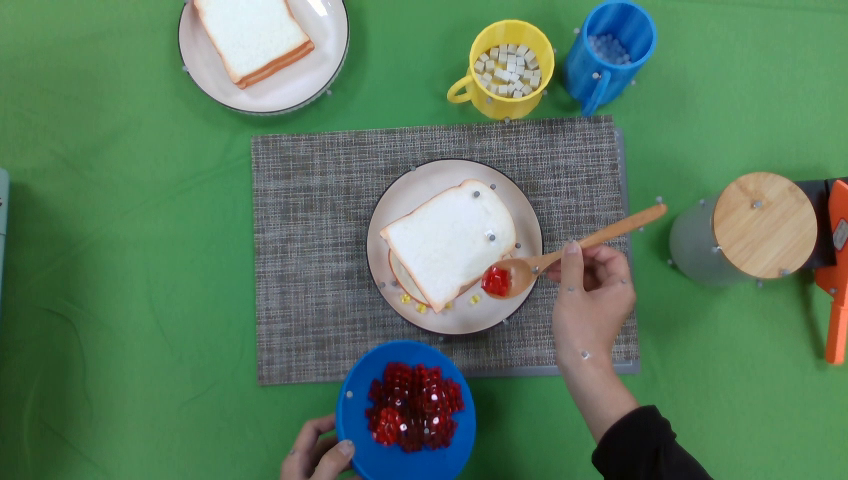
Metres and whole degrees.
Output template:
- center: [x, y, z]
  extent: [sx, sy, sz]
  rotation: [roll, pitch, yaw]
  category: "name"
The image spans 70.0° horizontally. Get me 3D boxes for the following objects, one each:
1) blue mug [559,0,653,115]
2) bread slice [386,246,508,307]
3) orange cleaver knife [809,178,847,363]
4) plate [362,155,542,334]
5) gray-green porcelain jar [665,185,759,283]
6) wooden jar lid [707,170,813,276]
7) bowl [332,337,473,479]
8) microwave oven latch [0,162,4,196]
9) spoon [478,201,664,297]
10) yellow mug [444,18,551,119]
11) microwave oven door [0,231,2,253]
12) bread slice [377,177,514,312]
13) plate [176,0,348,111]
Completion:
- center: [0.206, -0.204, 0.713]
  extent: [0.082, 0.106, 0.116]
  rotation: [18, 82, 2]
  category: "blue mug"
- center: [0.024, 0.016, 0.715]
  extent: [0.131, 0.019, 0.104]
  rotation: [-34, 81, -8]
  category: "bread slice"
- center: [0.468, 0.036, 0.695]
  extent: [0.012, 0.076, 0.212]
  rotation: [-4, 109, 0]
  category: "orange cleaver knife"
- center: [0.032, 0.005, 0.713]
  extent: [0.209, 0.038, 0.208]
  rotation: [0, 82, -1]
  category: "plate"
- center: [0.339, -0.007, 0.677]
  extent: [0.106, 0.127, 0.105]
  rotation: [0, 82, -1]
  category: "gray-green porcelain jar"
- center: [0.338, -0.017, 0.615]
  extent: [0.108, 0.021, 0.108]
  rotation: [0, 85, -3]
  category: "wooden jar lid"
- center: [-0.032, 0.184, 0.629]
  extent: [0.152, 0.077, 0.150]
  rotation: [13, 61, -24]
  category: "bowl"
- center: [-0.509, -0.055, 0.699]
  extent: [0.030, 0.029, 0.079]
  rotation: [3, 83, -1]
  category: "microwave oven latch"
- center: [0.142, 0.008, 0.597]
  extent: [0.193, 0.022, 0.041]
  rotation: [-26, 77, 20]
  category: "spoon"
- center: [0.084, -0.199, 0.730]
  extent: [0.131, 0.064, 0.099]
  rotation: [-23, 82, -2]
  category: "yellow mug"
- center: [-0.507, 0.148, 0.570]
  extent: [0.039, 0.244, 0.354]
  rotation: [-1, 82, 0]
  category: "microwave oven door"
- center: [0.029, -0.005, 0.655]
  extent: [0.134, 0.018, 0.107]
  rotation: [-38, 90, -12]
  category: "bread slice"
- center: [-0.197, -0.255, 0.748]
  extent: [0.208, 0.039, 0.207]
  rotation: [0, 82, -1]
  category: "plate"
